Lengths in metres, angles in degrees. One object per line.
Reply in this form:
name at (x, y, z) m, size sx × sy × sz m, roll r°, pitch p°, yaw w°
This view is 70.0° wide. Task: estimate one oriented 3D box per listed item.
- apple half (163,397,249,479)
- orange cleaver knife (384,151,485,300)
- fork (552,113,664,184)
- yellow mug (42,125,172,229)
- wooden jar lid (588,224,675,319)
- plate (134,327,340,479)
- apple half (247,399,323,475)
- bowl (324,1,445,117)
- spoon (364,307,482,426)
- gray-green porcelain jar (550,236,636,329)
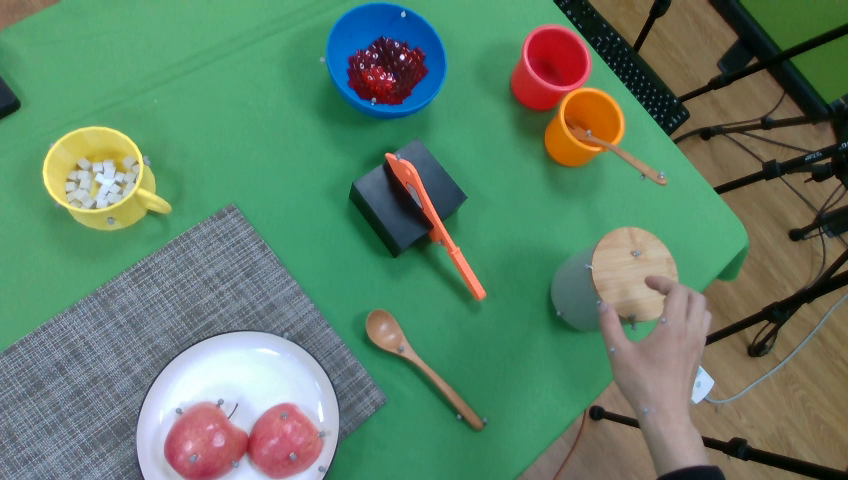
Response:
apple half at (-0.229, 0.207, 0.629) m, size 0.074 × 0.053 × 0.080 m, roll -41°, pitch 87°, yaw -16°
orange cleaver knife at (0.012, -0.017, 0.738) m, size 0.012 × 0.076 × 0.213 m, roll -36°, pitch 109°, yaw -15°
fork at (0.232, -0.120, 0.779) m, size 0.028 × 0.019 × 0.205 m, roll -20°, pitch 37°, yaw -18°
yellow mug at (-0.345, -0.063, 0.678) m, size 0.131 × 0.064 × 0.099 m, roll 24°, pitch 71°, yaw -7°
wooden jar lid at (0.232, 0.036, 0.685) m, size 0.109 × 0.021 × 0.108 m, roll 3°, pitch 77°, yaw -13°
plate at (-0.197, 0.199, 0.654) m, size 0.210 × 0.038 × 0.208 m, roll 3°, pitch 75°, yaw -12°
apple half at (-0.152, 0.215, 0.653) m, size 0.081 × 0.033 × 0.081 m, roll 3°, pitch 73°, yaw -9°
bowl at (-0.054, -0.217, 0.777) m, size 0.152 × 0.077 × 0.150 m, roll 3°, pitch 75°, yaw -12°
spoon at (0.000, 0.154, 0.722) m, size 0.193 × 0.022 × 0.041 m, roll 43°, pitch 47°, yaw 1°
gray-green porcelain jar at (0.221, 0.053, 0.744) m, size 0.106 × 0.127 × 0.105 m, roll 3°, pitch 74°, yaw -11°
